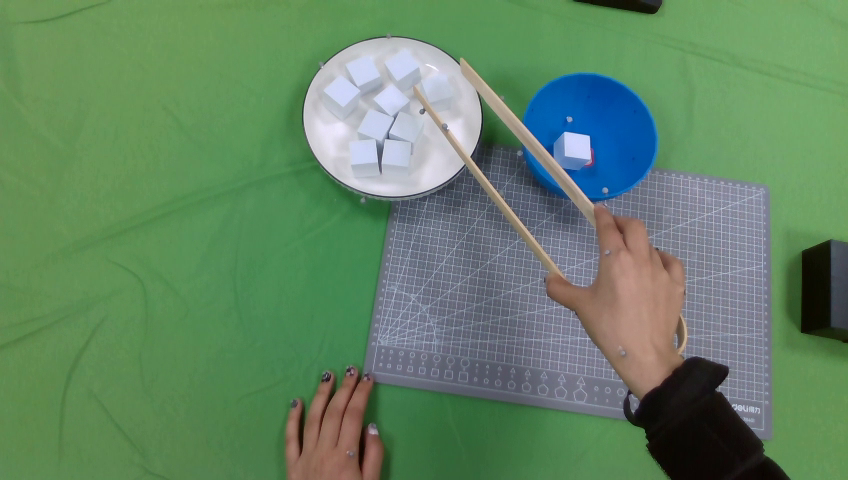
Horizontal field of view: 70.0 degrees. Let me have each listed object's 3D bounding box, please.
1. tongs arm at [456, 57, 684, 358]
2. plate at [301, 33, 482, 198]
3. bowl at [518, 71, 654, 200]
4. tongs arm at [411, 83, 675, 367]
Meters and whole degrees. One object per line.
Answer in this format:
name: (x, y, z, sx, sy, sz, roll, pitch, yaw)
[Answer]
tongs arm: (0.129, -0.052, 0.597, 0.028, 0.028, 0.384, -28, 64, -10)
plate: (-0.037, -0.143, 0.711, 0.208, 0.039, 0.206, 1, 74, -3)
bowl: (0.175, -0.107, 0.694, 0.151, 0.077, 0.150, 1, 74, -4)
tongs arm: (0.098, -0.034, 0.593, 0.051, 0.027, 0.381, -29, 64, -7)
